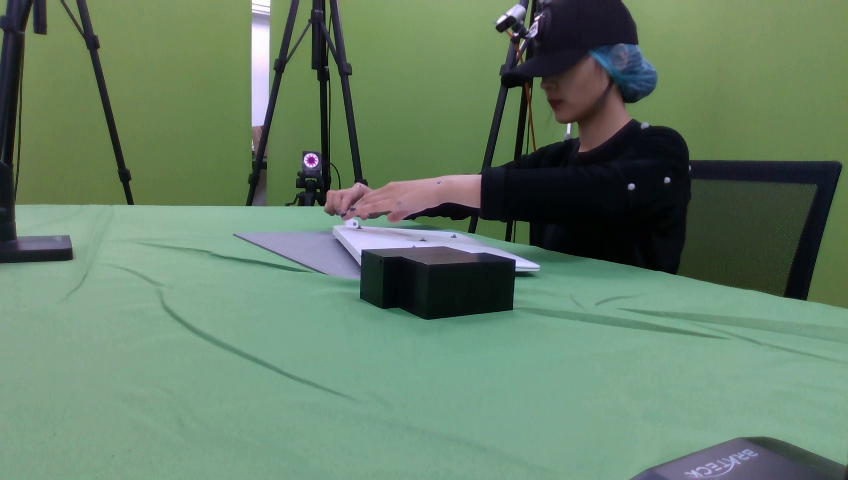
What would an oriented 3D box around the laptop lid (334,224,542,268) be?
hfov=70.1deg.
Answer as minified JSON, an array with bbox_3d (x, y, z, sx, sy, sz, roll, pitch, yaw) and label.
[{"bbox_3d":[-0.001,0.003,0.903,0.242,0.013,0.355,4,7,-13],"label":"laptop lid"}]

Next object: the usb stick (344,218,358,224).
[{"bbox_3d":[-0.128,-0.024,1.066,0.021,0.027,0.059,2,9,-13],"label":"usb stick"}]

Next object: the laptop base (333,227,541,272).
[{"bbox_3d":[-0.004,0.015,0.903,0.236,0.023,0.353,5,6,-15],"label":"laptop base"}]
